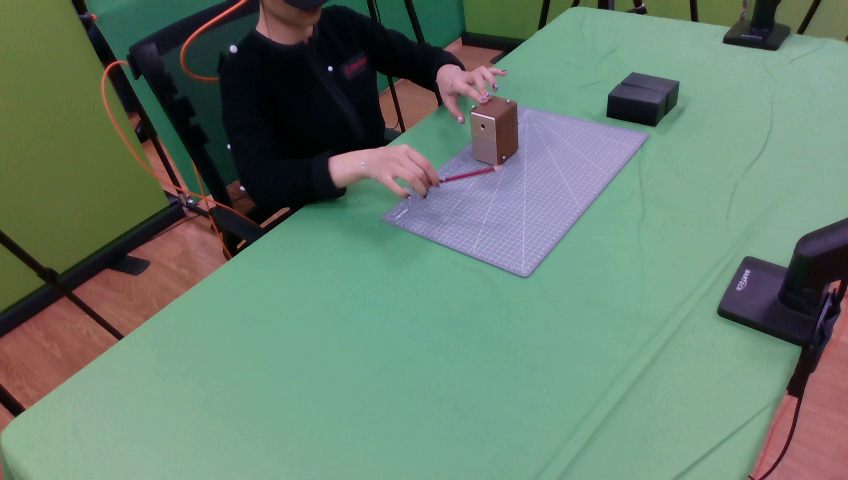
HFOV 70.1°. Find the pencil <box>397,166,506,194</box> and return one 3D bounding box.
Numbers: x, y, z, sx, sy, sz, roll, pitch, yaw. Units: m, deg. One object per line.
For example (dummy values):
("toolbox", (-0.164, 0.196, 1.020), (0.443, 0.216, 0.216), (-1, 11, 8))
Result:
("pencil", (0.044, -0.101, 1.014), (0.193, 0.012, 0.012), (-12, 39, 18))

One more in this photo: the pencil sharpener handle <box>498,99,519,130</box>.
("pencil sharpener handle", (0.165, -0.243, 1.148), (0.035, 0.068, 0.031), (21, 49, 35))

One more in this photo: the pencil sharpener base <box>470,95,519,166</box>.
("pencil sharpener base", (0.134, -0.205, 1.128), (0.061, 0.107, 0.077), (23, 50, 34))
